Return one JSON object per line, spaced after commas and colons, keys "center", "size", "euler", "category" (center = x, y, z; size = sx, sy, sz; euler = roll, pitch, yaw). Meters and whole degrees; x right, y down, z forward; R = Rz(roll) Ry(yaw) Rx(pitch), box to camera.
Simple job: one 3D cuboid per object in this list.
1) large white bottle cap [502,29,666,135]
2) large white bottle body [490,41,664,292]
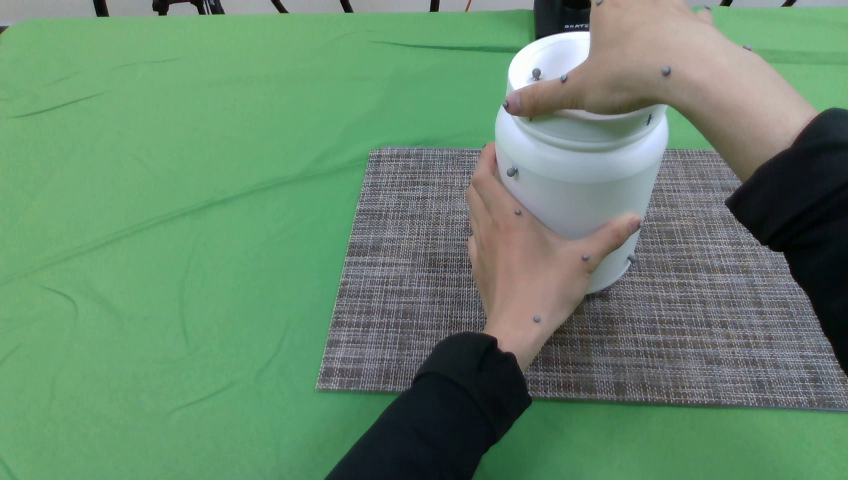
{"center": [0.114, -0.117, 0.438], "size": [0.115, 0.018, 0.113], "euler": [-2, 48, 3], "category": "large white bottle cap"}
{"center": [0.120, -0.060, 0.501], "size": [0.130, 0.186, 0.129], "euler": [-2, 48, 3], "category": "large white bottle body"}
